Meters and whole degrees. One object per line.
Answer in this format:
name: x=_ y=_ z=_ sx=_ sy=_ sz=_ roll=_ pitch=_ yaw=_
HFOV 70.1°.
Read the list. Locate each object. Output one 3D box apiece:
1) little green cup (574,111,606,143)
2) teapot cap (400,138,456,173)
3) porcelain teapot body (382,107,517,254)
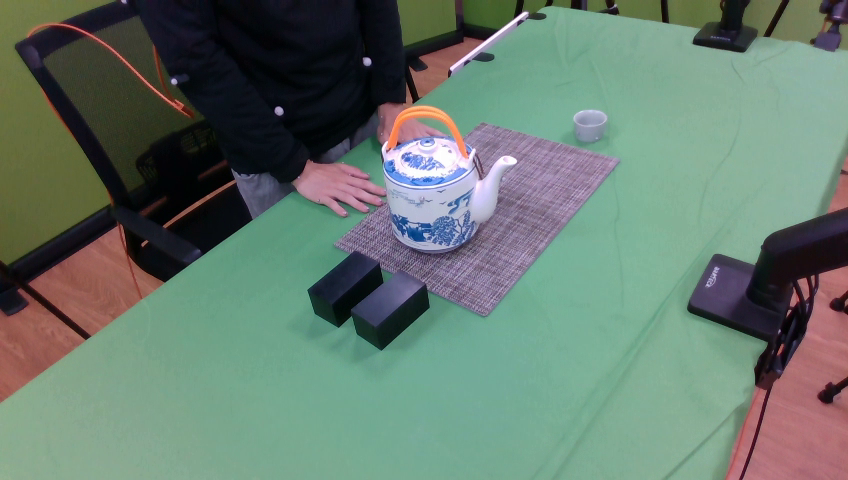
little green cup: x=0.318 y=-0.217 z=1.164 sx=0.061 sy=0.039 sz=0.061 roll=-3 pitch=41 yaw=3
teapot cap: x=0.006 y=-0.127 z=0.893 sx=0.085 sy=0.044 sz=0.084 roll=-3 pitch=44 yaw=3
porcelain teapot body: x=0.039 y=-0.095 z=0.912 sx=0.205 sy=0.226 sz=0.145 roll=5 pitch=42 yaw=14
